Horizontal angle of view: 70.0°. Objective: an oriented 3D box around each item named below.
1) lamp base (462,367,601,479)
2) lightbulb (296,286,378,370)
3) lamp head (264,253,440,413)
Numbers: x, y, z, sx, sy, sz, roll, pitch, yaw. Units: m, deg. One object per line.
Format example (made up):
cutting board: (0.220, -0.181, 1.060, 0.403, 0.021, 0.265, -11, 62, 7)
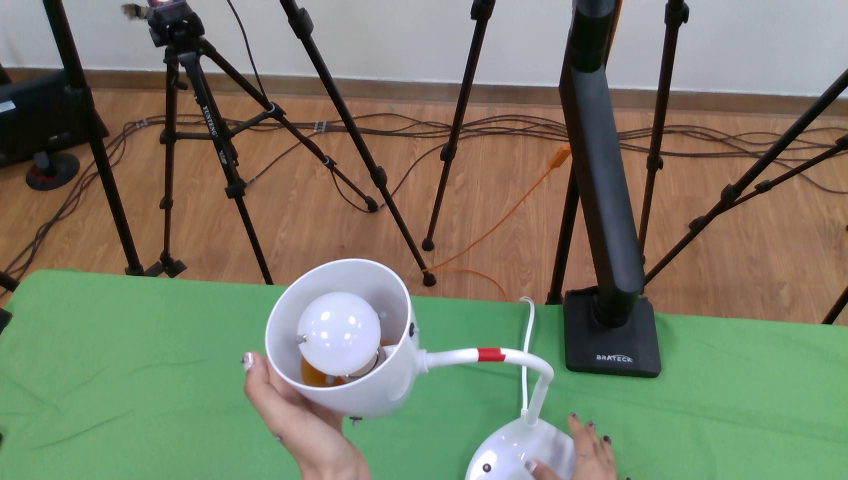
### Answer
lamp base: (0.119, 0.226, 0.646, 0.161, 0.182, 0.177, -8, 51, -3)
lightbulb: (-0.059, 0.076, 0.464, 0.059, 0.109, 0.059, -6, 57, 9)
lamp head: (-0.049, 0.086, 0.486, 0.112, 0.124, 0.111, -10, 52, 14)
